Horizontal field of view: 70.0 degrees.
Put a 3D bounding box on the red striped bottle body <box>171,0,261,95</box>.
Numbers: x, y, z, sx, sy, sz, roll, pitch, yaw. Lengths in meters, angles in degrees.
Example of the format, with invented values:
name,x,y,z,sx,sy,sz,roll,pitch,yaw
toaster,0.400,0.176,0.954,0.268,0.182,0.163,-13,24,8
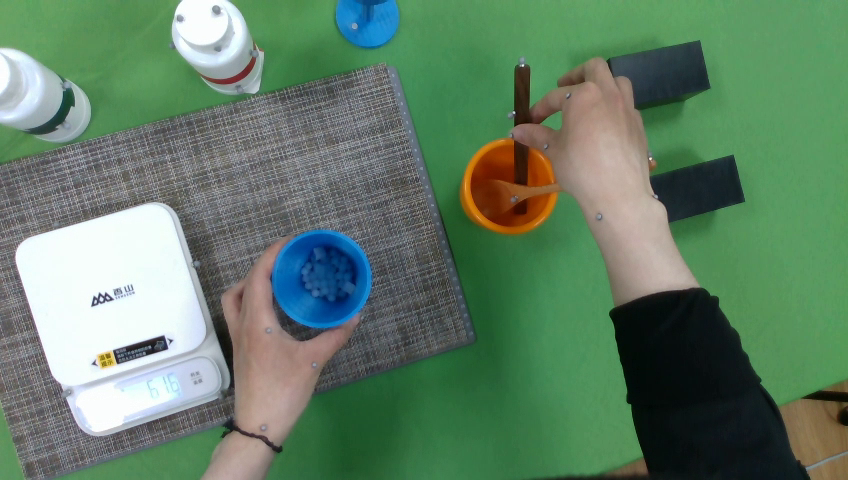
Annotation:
name,x,y,z,sx,sy,sz,roll,pitch,yaw
red striped bottle body,-0.188,-0.177,0.551,0.063,0.119,0.063,0,89,-7

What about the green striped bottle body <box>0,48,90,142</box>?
name,x,y,z,sx,sy,sz,roll,pitch,yaw
green striped bottle body,-0.349,-0.126,0.531,0.063,0.119,0.063,0,89,-7

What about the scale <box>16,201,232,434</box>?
name,x,y,z,sx,sy,sz,roll,pitch,yaw
scale,-0.283,0.074,0.578,0.149,0.031,0.201,-18,92,-6

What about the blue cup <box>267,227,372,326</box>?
name,x,y,z,sx,sy,sz,roll,pitch,yaw
blue cup,-0.092,0.033,0.565,0.093,0.100,0.092,0,89,-7

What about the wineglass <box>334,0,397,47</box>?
name,x,y,z,sx,sy,sz,roll,pitch,yaw
wineglass,-0.051,-0.233,0.541,0.074,0.172,0.073,0,89,-6

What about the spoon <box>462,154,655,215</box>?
name,x,y,z,sx,sy,sz,roll,pitch,yaw
spoon,0.120,-0.053,0.572,0.021,0.193,0.042,-38,113,-47

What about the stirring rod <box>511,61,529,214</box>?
name,x,y,z,sx,sy,sz,roll,pitch,yaw
stirring rod,0.089,-0.088,0.569,0.014,0.178,0.005,0,48,7

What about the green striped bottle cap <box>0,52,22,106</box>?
name,x,y,z,sx,sy,sz,roll,pitch,yaw
green striped bottle cap,-0.343,-0.129,0.475,0.044,0.020,0.044,0,89,-5

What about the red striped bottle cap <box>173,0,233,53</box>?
name,x,y,z,sx,sy,sz,roll,pitch,yaw
red striped bottle cap,-0.182,-0.178,0.498,0.044,0.018,0.044,0,87,-5
